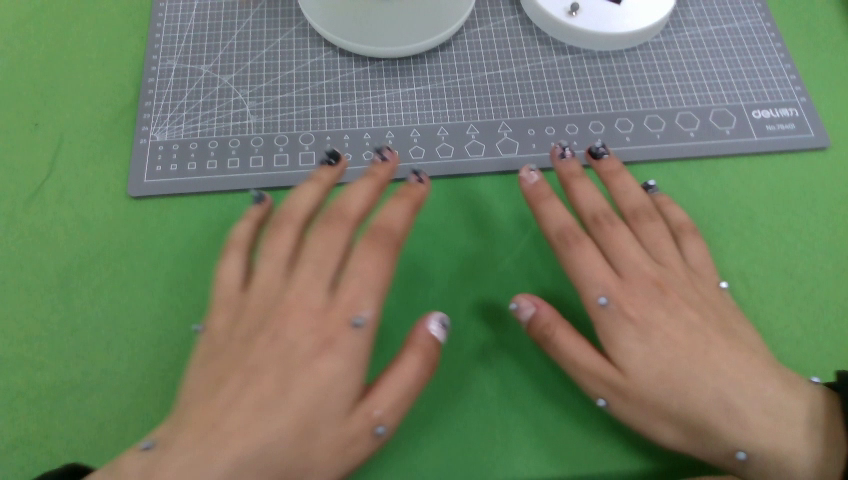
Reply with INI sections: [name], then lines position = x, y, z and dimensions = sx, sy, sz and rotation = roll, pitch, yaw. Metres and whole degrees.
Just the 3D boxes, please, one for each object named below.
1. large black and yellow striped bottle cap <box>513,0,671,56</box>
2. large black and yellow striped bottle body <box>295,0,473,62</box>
[large black and yellow striped bottle cap]
position = 0.124, -0.185, 0.449
dimensions = 0.115, 0.019, 0.114
rotation = 1, 62, -2
[large black and yellow striped bottle body]
position = -0.027, -0.218, 0.366
dimensions = 0.131, 0.185, 0.129
rotation = 1, 63, -1
